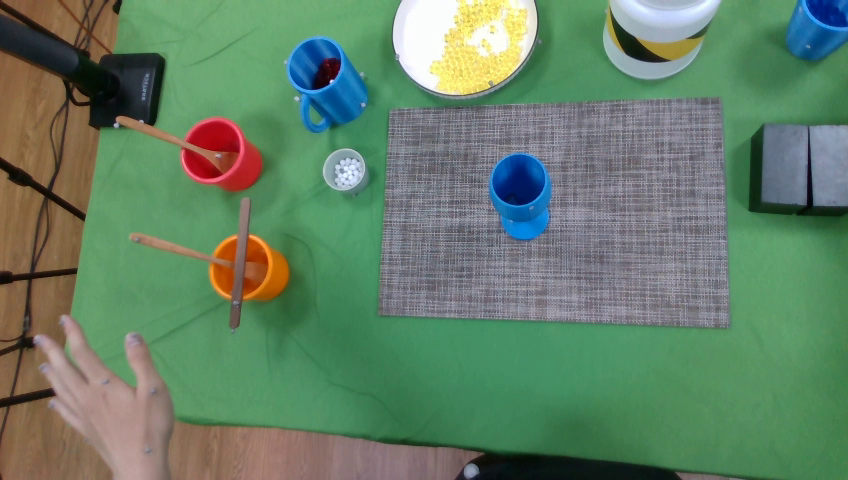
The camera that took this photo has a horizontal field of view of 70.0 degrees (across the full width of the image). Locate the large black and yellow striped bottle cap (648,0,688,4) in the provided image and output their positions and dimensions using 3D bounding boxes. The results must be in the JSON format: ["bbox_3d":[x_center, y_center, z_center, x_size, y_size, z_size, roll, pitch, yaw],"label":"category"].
[{"bbox_3d":[0.272,-0.315,0.664,0.115,0.019,0.114,-2,79,10],"label":"large black and yellow striped bottle cap"}]

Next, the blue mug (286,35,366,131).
[{"bbox_3d":[-0.142,-0.210,0.854,0.082,0.106,0.116,21,85,14],"label":"blue mug"}]

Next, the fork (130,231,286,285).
[{"bbox_3d":[-0.287,0.024,0.818,0.209,0.018,0.028,20,89,-30],"label":"fork"}]

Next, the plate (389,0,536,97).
[{"bbox_3d":[0.055,-0.300,0.866,0.209,0.038,0.208,-2,80,11],"label":"plate"}]

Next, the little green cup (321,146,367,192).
[{"bbox_3d":[-0.111,-0.098,0.862,0.061,0.039,0.061,-2,80,11],"label":"little green cup"}]

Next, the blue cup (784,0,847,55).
[{"bbox_3d":[0.491,-0.278,0.743,0.092,0.101,0.092,-2,80,13],"label":"blue cup"}]

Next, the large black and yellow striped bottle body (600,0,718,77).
[{"bbox_3d":[0.290,-0.299,0.744,0.130,0.185,0.130,-2,79,11],"label":"large black and yellow striped bottle body"}]

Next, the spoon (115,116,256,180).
[{"bbox_3d":[-0.333,-0.134,0.858,0.195,0.021,0.041,23,84,-30],"label":"spoon"}]

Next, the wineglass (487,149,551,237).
[{"bbox_3d":[0.117,-0.052,0.735,0.073,0.173,0.073,-2,79,11],"label":"wineglass"}]

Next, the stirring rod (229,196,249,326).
[{"bbox_3d":[-0.246,0.026,0.806,0.014,0.006,0.175,-1,80,12],"label":"stirring rod"}]
